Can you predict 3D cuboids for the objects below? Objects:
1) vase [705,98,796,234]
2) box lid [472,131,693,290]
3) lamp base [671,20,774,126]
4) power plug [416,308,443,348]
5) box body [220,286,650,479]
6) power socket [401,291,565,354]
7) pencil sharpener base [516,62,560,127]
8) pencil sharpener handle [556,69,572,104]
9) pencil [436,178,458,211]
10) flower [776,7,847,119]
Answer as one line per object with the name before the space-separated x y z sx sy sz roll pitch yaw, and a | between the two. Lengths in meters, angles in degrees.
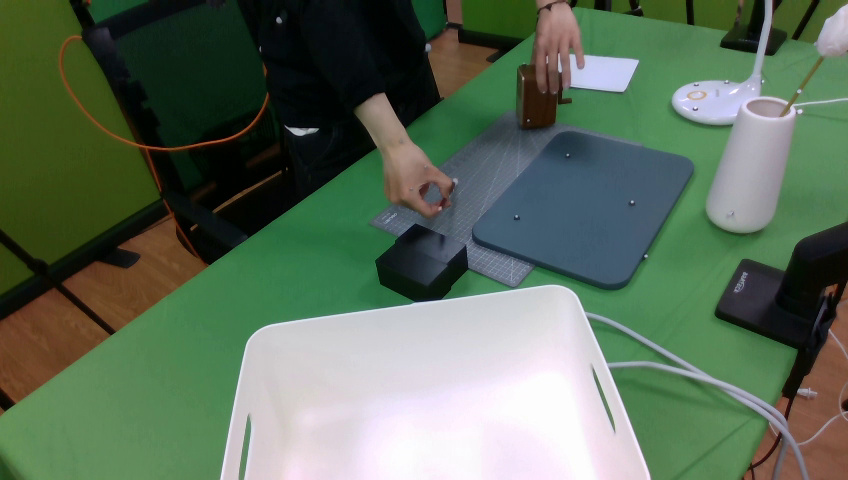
vase | 0.480 -0.104 0.889 0.098 0.201 0.097 -4 42 4
box lid | 0.273 -0.068 1.020 0.261 0.015 0.372 20 47 28
lamp base | 0.581 -0.332 1.153 0.179 0.181 0.160 2 41 7
power plug | 0.005 0.121 0.787 0.035 0.053 0.072 2 46 8
box body | 0.006 0.210 0.618 0.364 0.161 0.252 -8 40 -1
power socket | 0.080 0.111 0.823 0.227 0.033 0.072 -5 41 1
pencil sharpener base | 0.223 -0.285 1.183 0.077 0.107 0.061 -7 38 -2
pencil sharpener handle | 0.273 -0.299 1.176 0.031 0.068 0.036 -7 31 -2
pencil | 0.037 -0.075 0.985 0.012 0.012 0.194 2 20 11
flower | 0.476 -0.156 0.822 0.038 0.362 0.044 7 57 2
